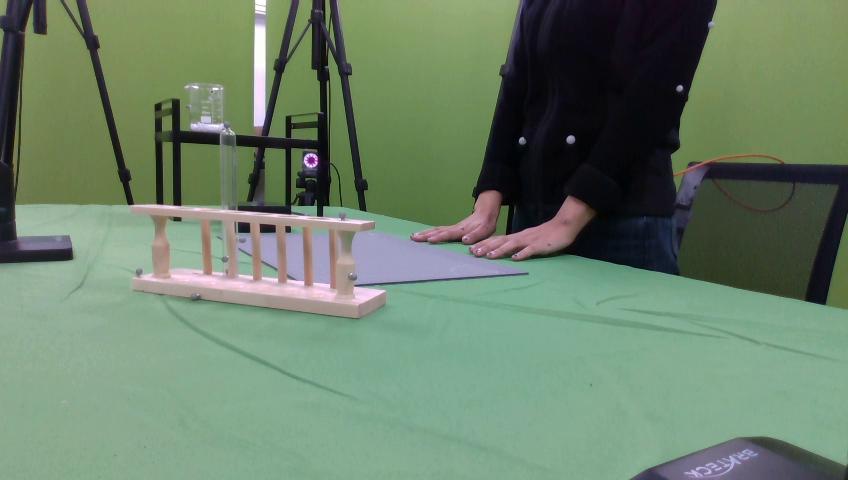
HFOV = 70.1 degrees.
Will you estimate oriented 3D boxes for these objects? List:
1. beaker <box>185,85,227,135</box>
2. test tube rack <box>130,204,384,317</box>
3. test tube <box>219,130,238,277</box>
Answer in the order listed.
[{"bbox_3d":[-0.460,-0.275,1.282,0.084,0.100,0.073,-3,8,-27],"label":"beaker"},{"bbox_3d":[-0.163,0.013,0.589,0.242,0.085,0.067,5,8,17],"label":"test tube rack"},{"bbox_3d":[-0.198,-0.036,0.613,0.017,0.150,0.017,2,8,0],"label":"test tube"}]
